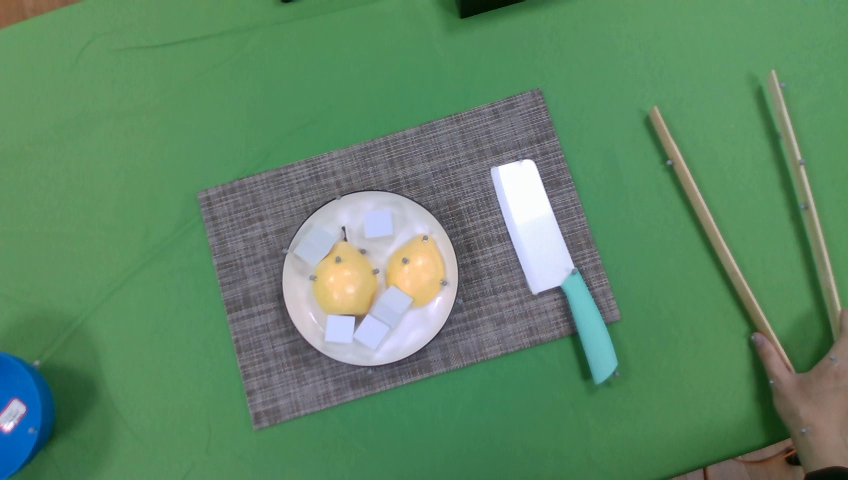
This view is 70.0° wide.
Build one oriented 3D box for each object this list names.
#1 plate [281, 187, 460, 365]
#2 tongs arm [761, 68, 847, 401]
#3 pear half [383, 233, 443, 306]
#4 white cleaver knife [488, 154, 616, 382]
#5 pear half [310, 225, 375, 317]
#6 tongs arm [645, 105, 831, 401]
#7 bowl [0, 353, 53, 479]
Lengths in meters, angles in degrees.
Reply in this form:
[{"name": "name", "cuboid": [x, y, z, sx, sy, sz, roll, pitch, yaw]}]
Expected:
[{"name": "plate", "cuboid": [-0.061, 0.042, 0.713, 0.207, 0.039, 0.207, 0, 81, 3]}, {"name": "tongs arm", "cuboid": [0.429, -0.012, 0.699, 0.051, 0.026, 0.383, -13, 82, 2]}, {"name": "pear half", "cuboid": [-0.013, 0.034, 0.706, 0.070, 0.031, 0.088, 15, 88, 2]}, {"name": "white cleaver knife", "cuboid": [0.148, 0.031, 0.718, 0.066, 0.021, 0.285, -22, 77, 9]}, {"name": "pear half", "cuboid": [-0.097, 0.033, 0.702, 0.076, 0.056, 0.109, -7, 77, -2]}, {"name": "tongs arm", "cuboid": [0.354, 0.011, 0.703, 0.028, 0.028, 0.386, -24, 81, -3]}, {"name": "bowl", "cuboid": [-0.487, 0.202, 0.694, 0.151, 0.077, 0.151, 0, 81, 3]}]
